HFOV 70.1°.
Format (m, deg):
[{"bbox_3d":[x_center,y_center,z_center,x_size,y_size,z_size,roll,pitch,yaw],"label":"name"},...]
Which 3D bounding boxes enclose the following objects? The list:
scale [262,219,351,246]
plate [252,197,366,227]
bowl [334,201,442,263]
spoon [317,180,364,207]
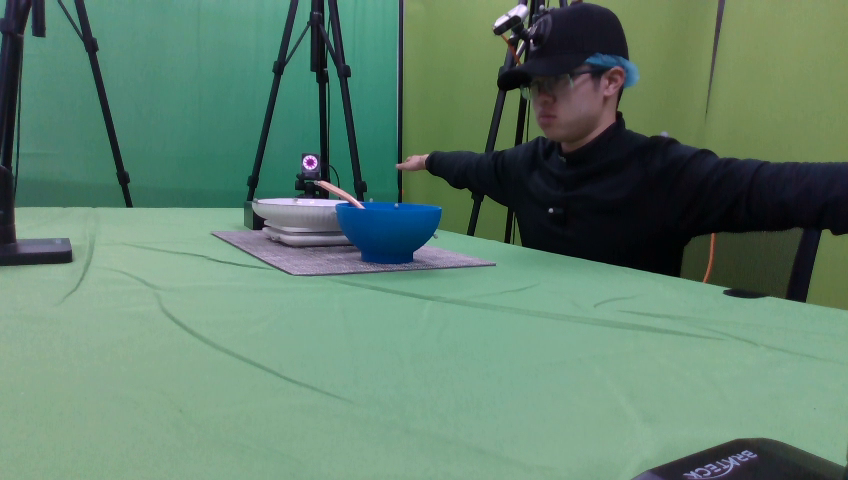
[{"bbox_3d":[-0.160,-0.015,1.027,0.202,0.031,0.148,-2,8,-32],"label":"scale"},{"bbox_3d":[-0.179,-0.047,1.012,0.209,0.038,0.209,2,6,0],"label":"plate"},{"bbox_3d":[-0.051,-0.012,0.849,0.151,0.077,0.151,2,7,0],"label":"bowl"},{"bbox_3d":[-0.100,-0.051,0.875,0.042,0.021,0.192,-13,37,-38],"label":"spoon"}]
